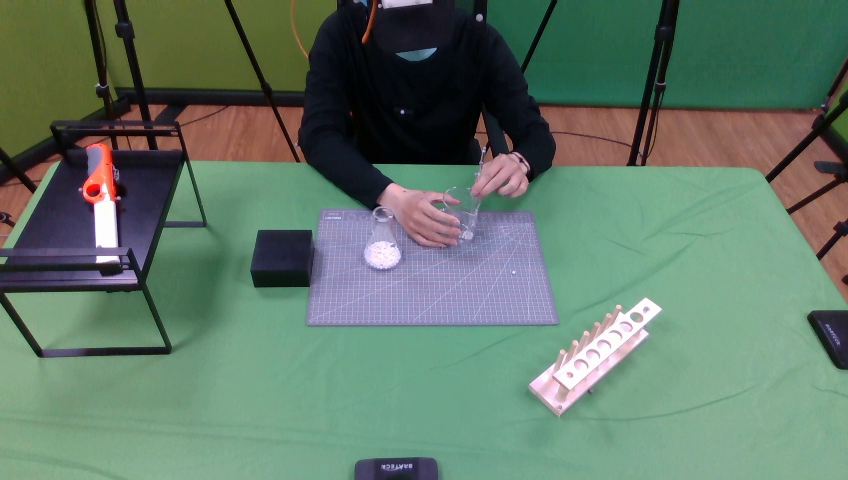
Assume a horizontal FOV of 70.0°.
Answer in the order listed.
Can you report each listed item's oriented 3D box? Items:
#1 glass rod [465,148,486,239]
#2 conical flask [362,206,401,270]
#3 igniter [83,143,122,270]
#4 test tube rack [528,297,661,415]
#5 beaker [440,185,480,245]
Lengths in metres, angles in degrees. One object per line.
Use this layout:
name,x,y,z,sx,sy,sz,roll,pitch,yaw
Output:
glass rod,0.097,-0.085,1.160,0.008,0.200,0.008,6,33,-4
conical flask,-0.078,-0.008,1.127,0.075,0.122,0.075,2,46,-2
igniter,-0.508,-0.063,0.962,0.057,0.025,0.274,-14,53,-18
test tube rack,0.285,0.178,1.005,0.242,0.085,0.066,-31,55,-29
beaker,0.070,-0.045,1.189,0.074,0.101,0.083,-25,53,-24
